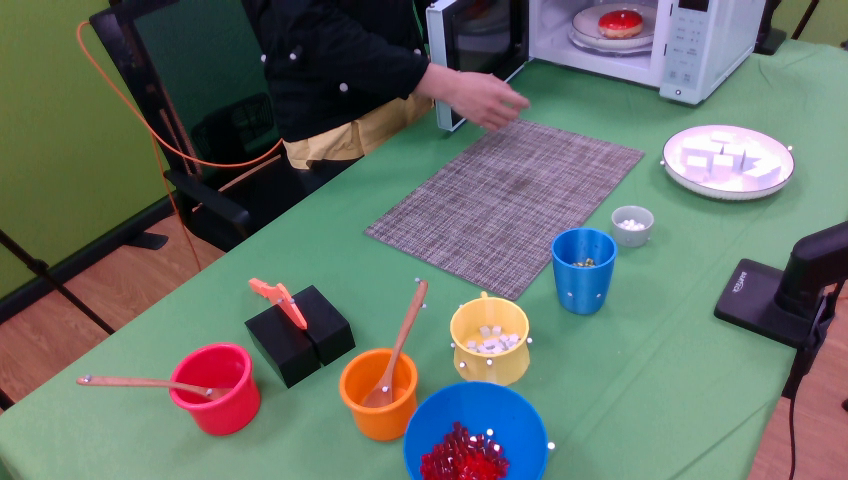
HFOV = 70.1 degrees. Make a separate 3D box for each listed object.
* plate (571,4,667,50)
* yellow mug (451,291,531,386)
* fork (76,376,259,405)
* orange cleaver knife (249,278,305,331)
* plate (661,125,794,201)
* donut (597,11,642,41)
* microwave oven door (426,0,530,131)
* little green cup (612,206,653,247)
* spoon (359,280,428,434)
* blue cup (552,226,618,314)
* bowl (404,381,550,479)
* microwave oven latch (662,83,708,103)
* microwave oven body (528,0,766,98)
[{"bbox_3d":[0.435,-0.474,1.358,0.209,0.038,0.208,-4,41,4],"label":"plate"},{"bbox_3d":[0.085,0.120,0.786,0.100,0.064,0.130,-7,39,1],"label":"yellow mug"},{"bbox_3d":[-0.295,0.176,0.716,0.209,0.018,0.028,19,27,-36],"label":"fork"},{"bbox_3d":[-0.210,0.088,0.856,0.012,0.077,0.210,-28,15,-25],"label":"orange cleaver knife"},{"bbox_3d":[0.513,-0.128,1.035,0.207,0.039,0.206,-4,40,4],"label":"plate"},{"bbox_3d":[0.435,-0.479,1.347,0.099,0.048,0.098,-4,39,4],"label":"donut"},{"bbox_3d":[0.124,-0.418,1.251,0.039,0.245,0.356,19,47,28],"label":"microwave oven door"},{"bbox_3d":[0.321,-0.019,0.936,0.061,0.039,0.061,-4,41,4],"label":"little green cup"},{"bbox_3d":[-0.032,0.138,0.719,0.041,0.193,0.022,22,4,30],"label":"spoon"},{"bbox_3d":[0.218,0.047,0.825,0.092,0.101,0.092,-6,40,5],"label":"blue cup"},{"bbox_3d":[0.058,0.235,0.645,0.151,0.077,0.150,-4,39,4],"label":"bowl"},{"bbox_3d":[0.518,-0.296,1.204,0.078,0.029,0.030,28,52,35],"label":"microwave oven latch"},{"bbox_3d":[0.472,-0.513,1.317,0.438,0.261,0.327,26,51,34],"label":"microwave oven body"}]
